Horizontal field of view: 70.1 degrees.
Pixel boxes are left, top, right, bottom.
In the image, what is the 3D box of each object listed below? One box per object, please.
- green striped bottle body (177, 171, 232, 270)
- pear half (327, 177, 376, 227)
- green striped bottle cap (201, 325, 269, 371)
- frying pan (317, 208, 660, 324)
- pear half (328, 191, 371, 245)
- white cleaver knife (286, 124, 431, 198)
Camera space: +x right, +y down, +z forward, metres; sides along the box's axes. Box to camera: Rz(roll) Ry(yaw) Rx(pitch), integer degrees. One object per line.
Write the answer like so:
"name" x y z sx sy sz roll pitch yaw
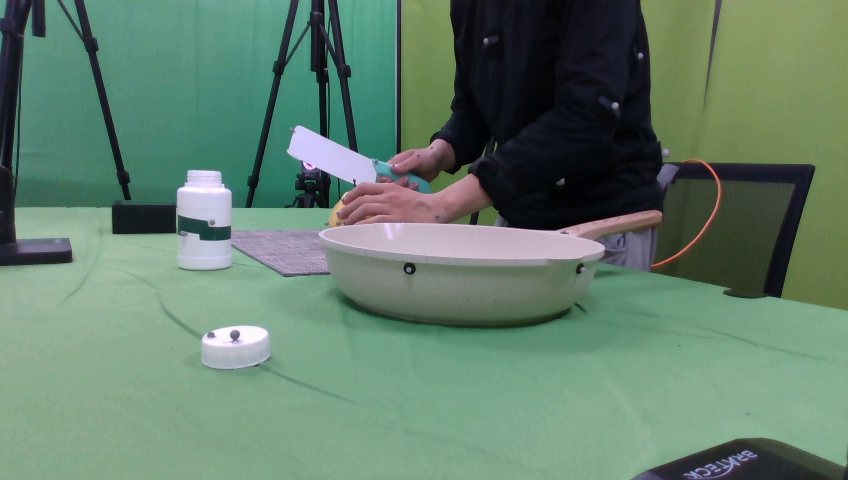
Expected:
"green striped bottle body" -0.273 -0.026 0.753 0.063 0.119 0.063 2 7 0
"pear half" -0.109 -0.042 0.943 0.077 0.110 0.055 -5 12 -26
"green striped bottle cap" -0.129 0.073 0.415 0.044 0.020 0.044 3 8 0
"frying pan" 0.121 0.006 0.691 0.490 0.102 0.305 -13 15 -33
"pear half" -0.123 -0.037 0.976 0.071 0.088 0.031 -5 9 -25
"white cleaver knife" -0.104 -0.118 1.026 0.288 0.066 0.021 19 -24 -34
